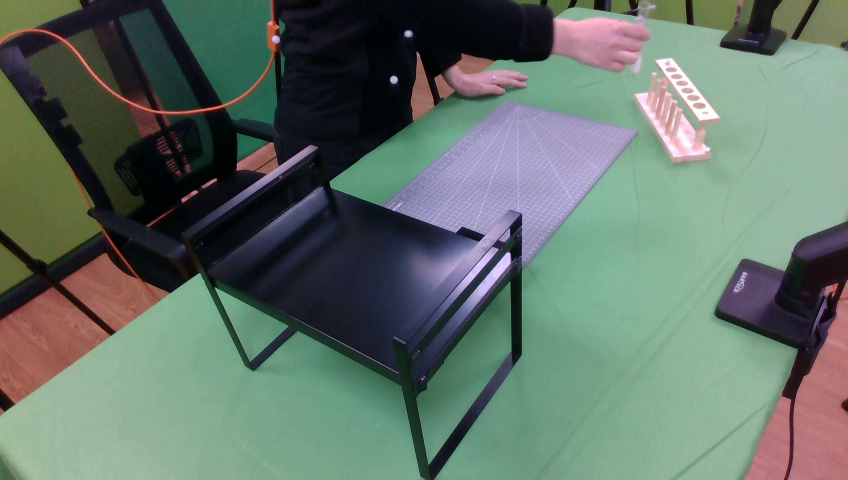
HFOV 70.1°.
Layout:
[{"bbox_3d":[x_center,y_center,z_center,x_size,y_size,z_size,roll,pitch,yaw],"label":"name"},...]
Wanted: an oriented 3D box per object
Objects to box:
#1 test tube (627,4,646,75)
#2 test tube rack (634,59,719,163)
[{"bbox_3d":[0.342,-0.319,0.974,0.017,0.151,0.017,-5,63,11],"label":"test tube"},{"bbox_3d":[0.470,-0.250,1.148,0.067,0.085,0.241,-6,40,3],"label":"test tube rack"}]
